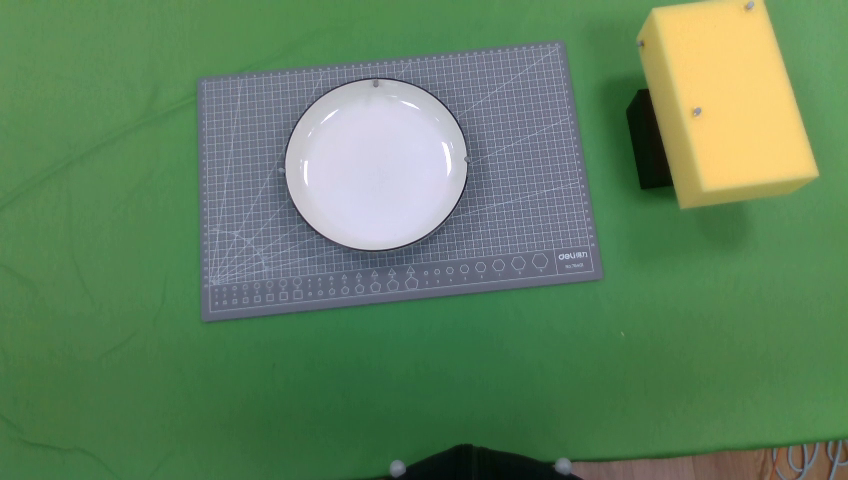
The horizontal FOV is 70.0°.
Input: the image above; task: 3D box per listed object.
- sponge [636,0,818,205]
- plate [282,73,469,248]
[{"bbox_3d":[0.312,-0.149,0.637,0.118,0.061,0.205,-9,77,-1],"label":"sponge"},{"bbox_3d":[-0.053,-0.089,0.692,0.209,0.038,0.208,0,77,1],"label":"plate"}]
